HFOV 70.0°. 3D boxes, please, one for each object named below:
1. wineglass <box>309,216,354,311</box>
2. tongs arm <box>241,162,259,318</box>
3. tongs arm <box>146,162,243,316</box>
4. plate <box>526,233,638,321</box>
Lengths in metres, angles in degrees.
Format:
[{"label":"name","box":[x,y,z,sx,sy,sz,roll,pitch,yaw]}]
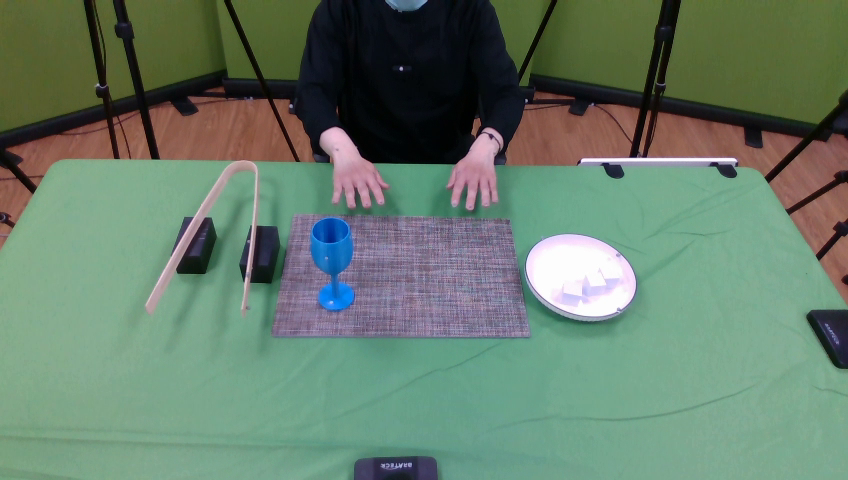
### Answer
[{"label":"wineglass","box":[-0.155,0.043,1.032,0.074,0.173,0.073,2,46,-2]},{"label":"tongs arm","box":[-0.334,-0.016,1.118,0.051,0.026,0.382,-3,46,-4]},{"label":"tongs arm","box":[-0.415,-0.018,1.115,0.028,0.028,0.385,4,45,8]},{"label":"plate","box":[0.292,0.071,1.135,0.209,0.038,0.208,2,46,-2]}]
